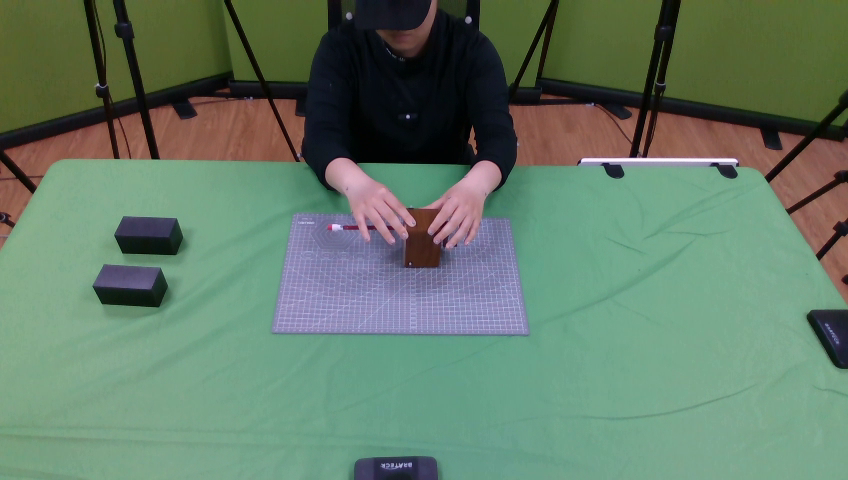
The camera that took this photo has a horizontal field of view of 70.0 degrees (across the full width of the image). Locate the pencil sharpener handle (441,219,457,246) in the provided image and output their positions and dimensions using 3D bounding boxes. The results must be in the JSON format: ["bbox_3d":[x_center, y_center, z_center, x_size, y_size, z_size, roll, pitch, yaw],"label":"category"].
[{"bbox_3d":[0.048,-0.013,1.132,0.031,0.068,0.036,-1,49,-4],"label":"pencil sharpener handle"}]

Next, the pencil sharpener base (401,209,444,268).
[{"bbox_3d":[-0.004,-0.003,1.136,0.077,0.107,0.061,-1,46,-4],"label":"pencil sharpener base"}]

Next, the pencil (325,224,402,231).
[{"bbox_3d":[-0.083,-0.022,1.110,0.194,0.012,0.012,1,45,-6],"label":"pencil"}]
